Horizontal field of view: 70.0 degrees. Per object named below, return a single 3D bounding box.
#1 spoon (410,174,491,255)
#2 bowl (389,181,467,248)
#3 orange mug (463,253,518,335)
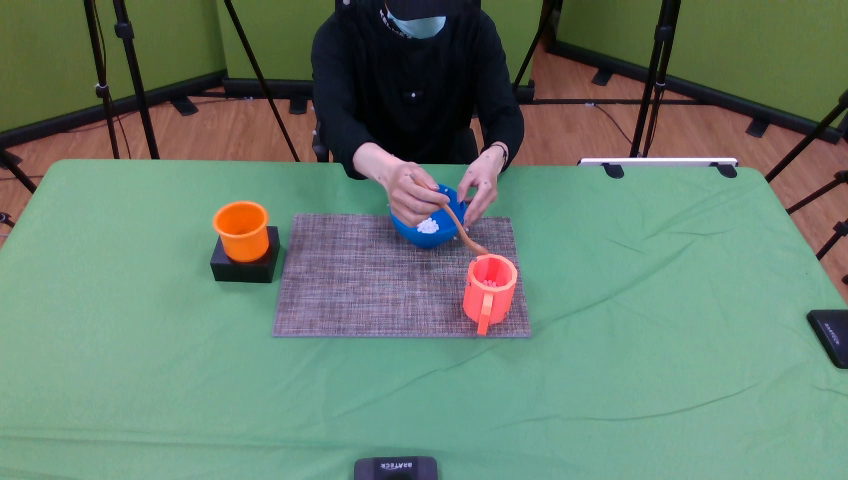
[{"bbox_3d":[0.044,-0.040,0.992,0.021,0.194,0.041,-41,19,-1],"label":"spoon"},{"bbox_3d":[0.006,-0.038,1.188,0.151,0.077,0.150,2,46,-2],"label":"bowl"},{"bbox_3d":[0.113,0.098,1.050,0.083,0.101,0.125,10,41,5],"label":"orange mug"}]
